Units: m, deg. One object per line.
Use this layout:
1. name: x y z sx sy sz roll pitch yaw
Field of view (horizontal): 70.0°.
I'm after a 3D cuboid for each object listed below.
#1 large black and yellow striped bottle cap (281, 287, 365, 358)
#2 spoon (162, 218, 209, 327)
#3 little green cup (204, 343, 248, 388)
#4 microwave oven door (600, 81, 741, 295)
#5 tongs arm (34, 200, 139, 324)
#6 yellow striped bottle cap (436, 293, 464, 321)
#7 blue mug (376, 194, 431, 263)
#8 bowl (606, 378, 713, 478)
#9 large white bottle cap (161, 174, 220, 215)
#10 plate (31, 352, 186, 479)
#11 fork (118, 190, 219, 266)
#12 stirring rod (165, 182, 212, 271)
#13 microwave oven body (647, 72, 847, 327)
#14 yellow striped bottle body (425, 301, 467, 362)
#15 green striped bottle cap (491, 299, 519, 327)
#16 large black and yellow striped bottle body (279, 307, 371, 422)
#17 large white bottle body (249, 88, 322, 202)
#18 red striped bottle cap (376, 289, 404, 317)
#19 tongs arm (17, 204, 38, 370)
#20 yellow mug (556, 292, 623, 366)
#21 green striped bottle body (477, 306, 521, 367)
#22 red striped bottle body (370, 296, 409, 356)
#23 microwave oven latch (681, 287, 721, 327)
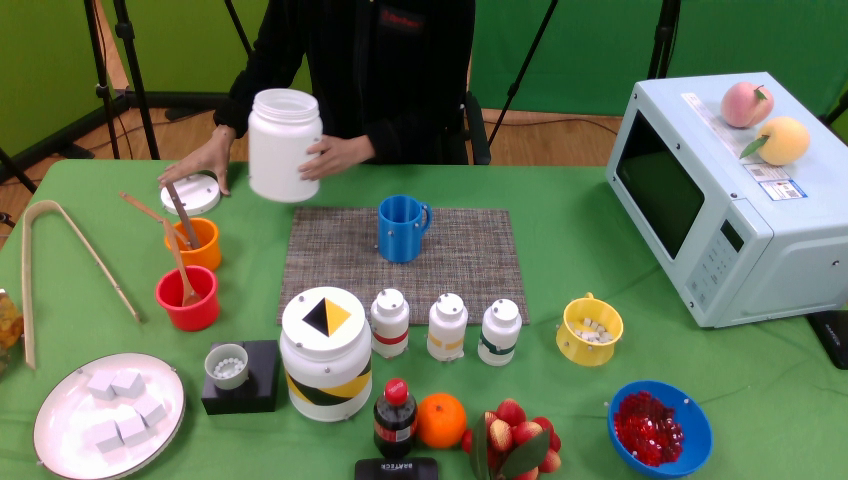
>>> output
1. large black and yellow striped bottle cap: -0.141 0.112 0.847 0.115 0.019 0.114 5 45 -4
2. spoon: -0.410 0.054 1.029 0.041 0.021 0.194 -17 94 -16
3. little green cup: -0.294 0.190 0.909 0.061 0.039 0.061 1 48 -1
4. microwave oven door: 0.454 -0.107 1.161 0.039 0.245 0.353 -6 47 -11
5. tongs arm: -0.622 0.034 1.105 0.051 0.026 0.382 -32 56 -26
6. yellow striped bottle cap: 0.041 0.106 0.959 0.044 0.019 0.044 -1 50 1
7. blue mug: -0.035 -0.027 1.159 0.116 0.106 0.082 -24 53 -26
8. bowl: 0.340 0.292 0.906 0.151 0.077 0.150 2 46 -2
9. large white bottle cap: -0.483 -0.095 1.253 0.115 0.018 0.114 2 45 -2
10. plate: -0.459 0.262 0.898 0.209 0.038 0.208 2 45 -2
11. fork: -0.459 -0.020 1.092 0.208 0.018 0.028 44 44 -24
12. stirring rod: -0.430 -0.025 1.107 0.014 0.006 0.176 -26 95 -20
13. microwave oven body: 0.607 -0.089 1.164 0.326 0.261 0.438 -7 46 -10
14. yellow striped bottle body: 0.037 0.142 0.996 0.063 0.121 0.062 3 47 -3
15. green striped bottle cap: 0.128 0.115 0.958 0.044 0.020 0.044 1 46 -1
16. large black and yellow striped bottle body: -0.145 0.173 0.907 0.131 0.185 0.130 2 46 -2
17. large white bottle body: -0.261 -0.179 1.139 0.131 0.185 0.130 8 34 -5
18. red striped bottle cap: -0.054 0.098 0.959 0.044 0.018 0.044 0 48 1
19. tongs arm: -0.698 0.069 1.069 0.028 0.028 0.385 -20 50 -13
20. yellow mug: 0.285 0.145 1.051 0.100 0.064 0.130 7 45 3
21. green striped bottle body: 0.124 0.151 0.995 0.063 0.120 0.063 2 46 -1
22. red striped bottle body: -0.058 0.134 0.997 0.063 0.120 0.062 4 47 -4
23. microwave oven latch: 0.494 0.119 1.087 0.030 0.029 0.078 -6 46 -9
